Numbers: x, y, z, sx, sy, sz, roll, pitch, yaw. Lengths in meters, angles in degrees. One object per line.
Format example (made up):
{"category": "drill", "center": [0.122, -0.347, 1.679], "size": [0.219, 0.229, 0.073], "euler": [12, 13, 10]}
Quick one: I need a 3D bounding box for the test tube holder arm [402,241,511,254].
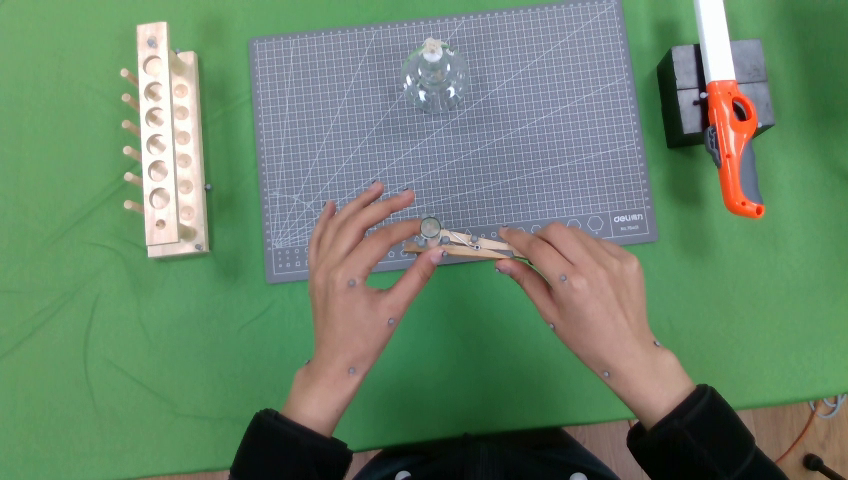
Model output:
{"category": "test tube holder arm", "center": [0.026, 0.006, 0.495], "size": [0.088, 0.015, 0.010], "euler": [-1, 89, 1]}

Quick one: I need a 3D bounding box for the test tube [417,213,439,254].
{"category": "test tube", "center": [0.004, -0.003, 0.489], "size": [0.017, 0.150, 0.017], "euler": [0, 83, 1]}

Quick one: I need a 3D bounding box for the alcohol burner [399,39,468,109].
{"category": "alcohol burner", "center": [0.009, -0.189, 0.663], "size": [0.078, 0.119, 0.077], "euler": [0, 83, 4]}

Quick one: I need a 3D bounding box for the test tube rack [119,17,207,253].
{"category": "test tube rack", "center": [-0.297, -0.113, 0.678], "size": [0.067, 0.085, 0.241], "euler": [-6, 83, 1]}

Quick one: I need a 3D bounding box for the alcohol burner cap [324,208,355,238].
{"category": "alcohol burner cap", "center": [-0.097, -0.021, 0.680], "size": [0.034, 0.048, 0.034], "euler": [0, 82, 0]}

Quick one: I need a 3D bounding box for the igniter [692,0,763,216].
{"category": "igniter", "center": [0.320, -0.159, 0.649], "size": [0.057, 0.025, 0.275], "euler": [-4, 80, -1]}

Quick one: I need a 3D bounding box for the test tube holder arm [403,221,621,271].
{"category": "test tube holder arm", "center": [0.071, 0.005, 0.494], "size": [0.178, 0.015, 0.013], "euler": [9, 90, 1]}
